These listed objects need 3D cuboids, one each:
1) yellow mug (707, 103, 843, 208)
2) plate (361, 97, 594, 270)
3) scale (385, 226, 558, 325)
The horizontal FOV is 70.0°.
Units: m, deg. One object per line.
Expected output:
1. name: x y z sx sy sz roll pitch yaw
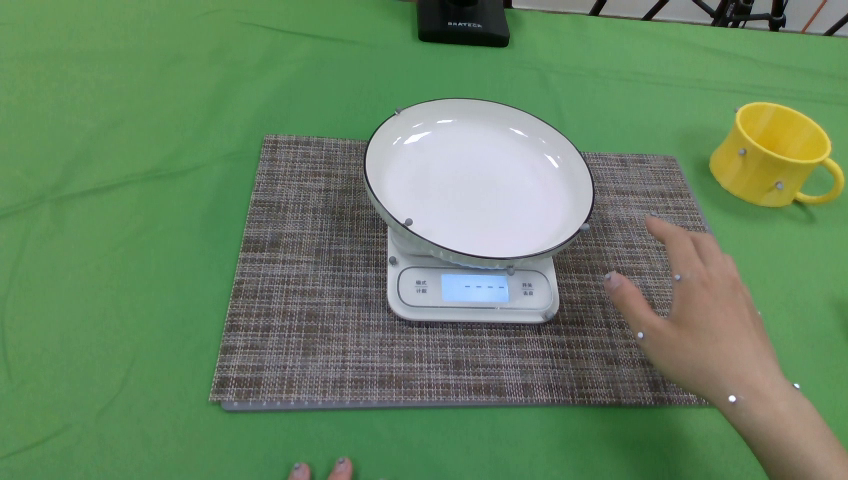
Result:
1. yellow mug: 0.382 -0.084 0.651 0.130 0.064 0.100 39 55 22
2. plate: 0.047 -0.052 0.549 0.209 0.038 0.207 4 49 -5
3. scale: 0.040 -0.013 0.558 0.149 0.032 0.199 3 50 -6
